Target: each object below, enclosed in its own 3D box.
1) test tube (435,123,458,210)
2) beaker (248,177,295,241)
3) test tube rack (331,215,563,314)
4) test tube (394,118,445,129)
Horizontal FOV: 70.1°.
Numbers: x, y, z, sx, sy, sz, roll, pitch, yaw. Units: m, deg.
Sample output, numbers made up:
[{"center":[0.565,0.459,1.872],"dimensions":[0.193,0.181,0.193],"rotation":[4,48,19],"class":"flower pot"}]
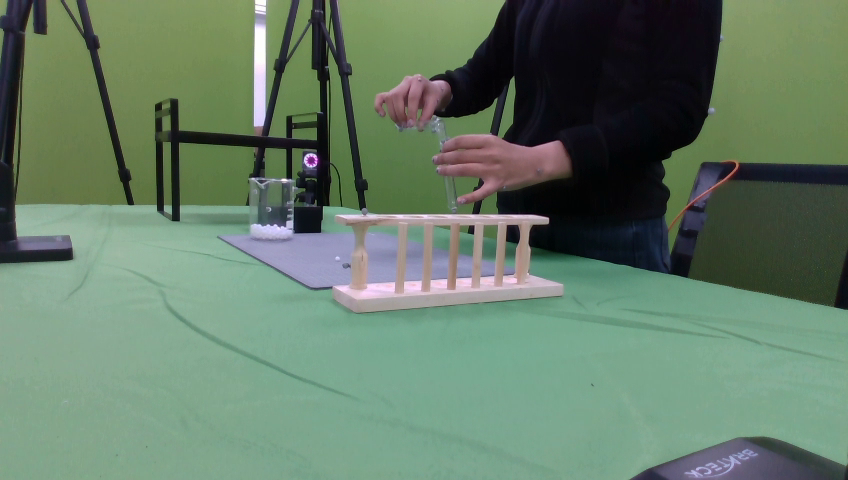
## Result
[{"center":[0.033,-0.109,0.878],"dimensions":[0.017,0.150,0.017],"rotation":[-6,-29,-3],"class":"test tube"},{"center":[-0.252,-0.051,0.992],"dimensions":[0.074,0.100,0.084],"rotation":[3,9,6],"class":"beaker"},{"center":[0.031,0.019,0.625],"dimensions":[0.243,0.085,0.066],"rotation":[-1,8,-28],"class":"test tube rack"},{"center":[-0.010,-0.187,0.975],"dimensions":[0.017,0.017,0.150],"rotation":[-2,9,-29],"class":"test tube"}]
